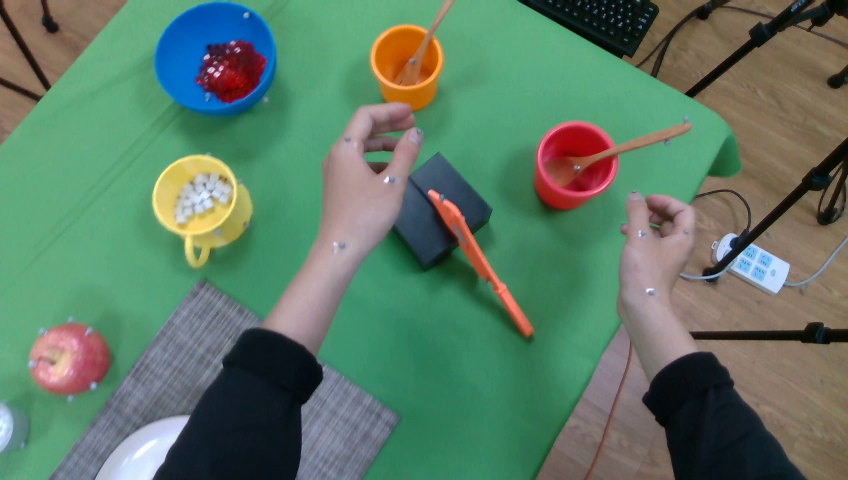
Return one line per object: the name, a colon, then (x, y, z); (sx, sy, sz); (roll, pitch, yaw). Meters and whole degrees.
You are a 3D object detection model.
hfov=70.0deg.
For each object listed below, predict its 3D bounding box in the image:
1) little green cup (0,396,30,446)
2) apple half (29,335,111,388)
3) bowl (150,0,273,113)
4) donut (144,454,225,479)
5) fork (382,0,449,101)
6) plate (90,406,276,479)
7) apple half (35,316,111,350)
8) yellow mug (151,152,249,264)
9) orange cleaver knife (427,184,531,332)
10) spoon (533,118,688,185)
little green cup: (-0.493, 0.210, 0.700); (0.061, 0.039, 0.061); (0, 77, 1)
apple half: (-0.410, 0.143, 0.699); (0.081, 0.075, 0.053); (13, 81, 0)
bowl: (-0.262, -0.224, 0.784); (0.151, 0.077, 0.150); (0, 77, 0)
donut: (-0.266, 0.287, 0.667); (0.099, 0.048, 0.098); (0, 79, -1)
fork: (0.005, -0.262, 0.756); (0.028, 0.018, 0.208); (44, 124, 13)
plate: (-0.267, 0.291, 0.677); (0.209, 0.038, 0.208); (0, 77, 0)
apple half: (-0.402, 0.106, 0.707); (0.081, 0.081, 0.032); (13, 80, 3)
yellow mug: (-0.275, -0.036, 0.745); (0.100, 0.064, 0.130); (2, 77, 0)
orange cleaver knife: (0.065, 0.022, 0.721); (0.012, 0.076, 0.213); (-36, 111, -6)
spoon: (0.217, -0.107, 0.723); (0.193, 0.022, 0.041); (-18, 69, 42)
